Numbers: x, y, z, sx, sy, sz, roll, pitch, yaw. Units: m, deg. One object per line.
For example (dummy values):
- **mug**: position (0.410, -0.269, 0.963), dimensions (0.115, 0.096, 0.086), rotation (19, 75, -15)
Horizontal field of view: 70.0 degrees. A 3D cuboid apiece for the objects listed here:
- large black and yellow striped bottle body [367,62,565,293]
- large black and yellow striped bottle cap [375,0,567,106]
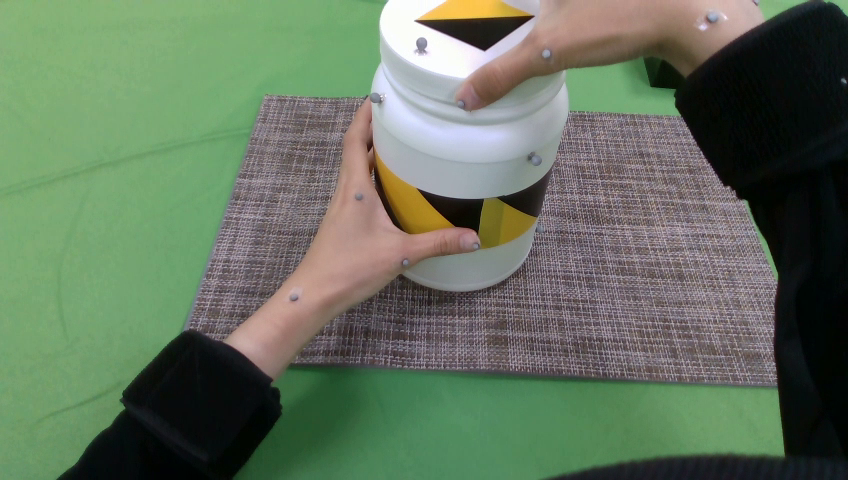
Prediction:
- **large black and yellow striped bottle body**: position (0.026, -0.064, 0.432), dimensions (0.131, 0.185, 0.129), rotation (2, 49, -2)
- **large black and yellow striped bottle cap**: position (0.028, -0.122, 0.363), dimensions (0.115, 0.019, 0.114), rotation (1, 49, -1)
